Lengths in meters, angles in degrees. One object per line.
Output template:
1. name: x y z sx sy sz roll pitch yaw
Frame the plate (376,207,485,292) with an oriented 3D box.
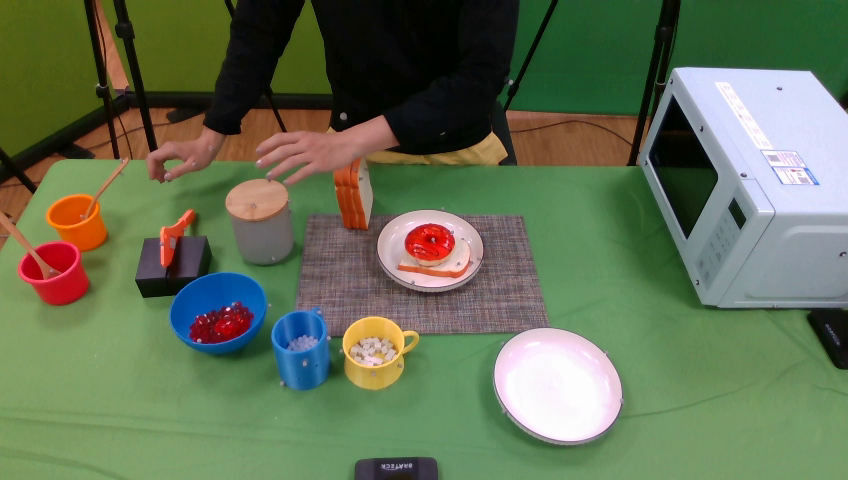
1. plate: 0.012 0.021 1.159 0.209 0.038 0.208 2 47 -2

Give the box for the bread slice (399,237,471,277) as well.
1. bread slice: 0.025 0.025 1.161 0.131 0.019 0.104 7 47 8

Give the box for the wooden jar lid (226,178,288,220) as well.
1. wooden jar lid: -0.296 -0.070 1.081 0.108 0.021 0.107 1 45 -1

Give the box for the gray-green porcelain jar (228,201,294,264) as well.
1. gray-green porcelain jar: -0.300 -0.027 1.126 0.106 0.127 0.105 2 46 -2

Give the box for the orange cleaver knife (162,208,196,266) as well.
1. orange cleaver knife: -0.454 -0.010 1.129 0.012 0.077 0.210 -1 17 -6

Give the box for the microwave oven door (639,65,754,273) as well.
1. microwave oven door: 0.522 -0.147 1.192 0.039 0.245 0.353 0 47 -3

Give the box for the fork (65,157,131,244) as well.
1. fork: -0.608 -0.074 1.132 0.207 0.019 0.028 -52 49 10

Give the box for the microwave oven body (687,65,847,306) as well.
1. microwave oven body: 0.669 -0.111 1.176 0.326 0.261 0.439 0 46 -3

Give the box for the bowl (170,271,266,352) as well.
1. bowl: -0.333 0.132 1.006 0.151 0.077 0.150 2 46 -2

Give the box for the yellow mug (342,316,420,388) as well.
1. yellow mug: -0.067 0.177 0.990 0.131 0.064 0.099 -15 50 -19

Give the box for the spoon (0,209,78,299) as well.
1. spoon: -0.668 0.022 1.040 0.041 0.021 0.194 -41 105 -29

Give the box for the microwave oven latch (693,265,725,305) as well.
1. microwave oven latch: 0.522 0.081 1.115 0.030 0.029 0.078 2 46 -1

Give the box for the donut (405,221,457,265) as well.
1. donut: 0.013 0.004 1.136 0.099 0.048 0.098 0 46 0

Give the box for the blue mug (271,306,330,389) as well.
1. blue mug: -0.188 0.163 0.969 0.082 0.106 0.116 15 47 10

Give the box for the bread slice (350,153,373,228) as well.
1. bread slice: -0.124 -0.104 1.207 0.018 0.135 0.106 -1 48 7

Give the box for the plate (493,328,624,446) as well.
1. plate: 0.213 0.236 0.974 0.208 0.039 0.206 2 46 -2
